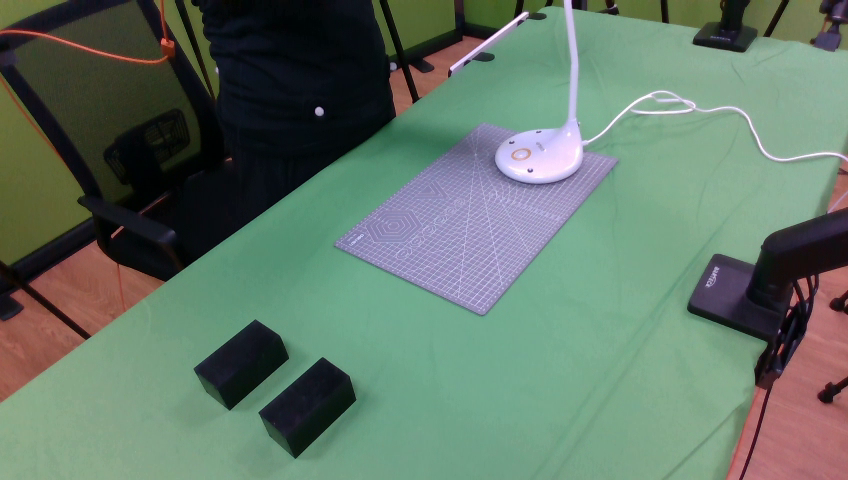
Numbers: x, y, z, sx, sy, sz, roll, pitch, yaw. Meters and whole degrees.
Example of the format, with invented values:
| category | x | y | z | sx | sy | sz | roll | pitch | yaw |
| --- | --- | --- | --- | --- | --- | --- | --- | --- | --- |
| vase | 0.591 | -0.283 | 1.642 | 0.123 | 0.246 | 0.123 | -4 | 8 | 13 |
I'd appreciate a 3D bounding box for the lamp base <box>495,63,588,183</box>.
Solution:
| category | x | y | z | sx | sy | sz | roll | pitch | yaw |
| --- | --- | --- | --- | --- | --- | --- | --- | --- | --- |
| lamp base | 0.215 | -0.217 | 1.067 | 0.180 | 0.181 | 0.159 | -19 | 42 | -18 |
